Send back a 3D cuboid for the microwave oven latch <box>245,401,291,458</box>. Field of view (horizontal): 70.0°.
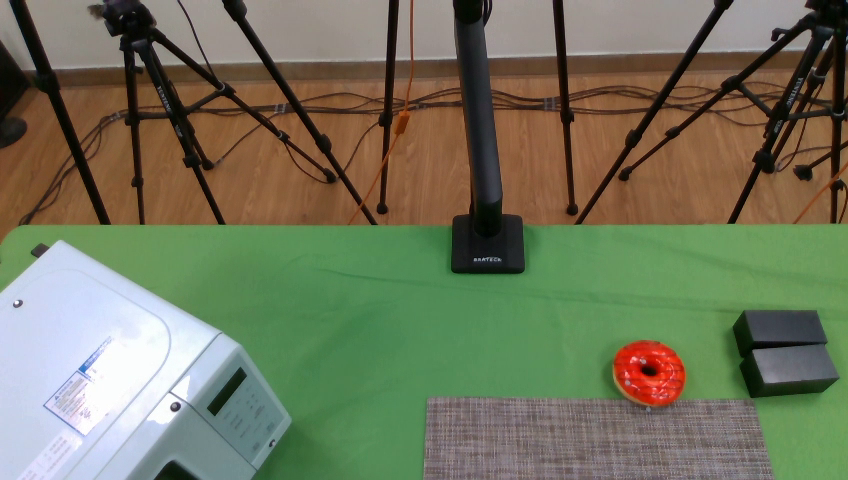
[{"bbox_3d":[-0.213,0.251,0.817,0.030,0.030,0.079,26,61,20],"label":"microwave oven latch"}]

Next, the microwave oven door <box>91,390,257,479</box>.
[{"bbox_3d":[-0.333,0.349,0.632,0.039,0.246,0.354,24,60,20],"label":"microwave oven door"}]

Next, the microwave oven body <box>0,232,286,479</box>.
[{"bbox_3d":[-0.437,0.266,0.704,0.324,0.262,0.440,24,61,19],"label":"microwave oven body"}]

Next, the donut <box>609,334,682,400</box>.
[{"bbox_3d":[0.309,0.177,0.847,0.099,0.049,0.098,-4,51,6],"label":"donut"}]
